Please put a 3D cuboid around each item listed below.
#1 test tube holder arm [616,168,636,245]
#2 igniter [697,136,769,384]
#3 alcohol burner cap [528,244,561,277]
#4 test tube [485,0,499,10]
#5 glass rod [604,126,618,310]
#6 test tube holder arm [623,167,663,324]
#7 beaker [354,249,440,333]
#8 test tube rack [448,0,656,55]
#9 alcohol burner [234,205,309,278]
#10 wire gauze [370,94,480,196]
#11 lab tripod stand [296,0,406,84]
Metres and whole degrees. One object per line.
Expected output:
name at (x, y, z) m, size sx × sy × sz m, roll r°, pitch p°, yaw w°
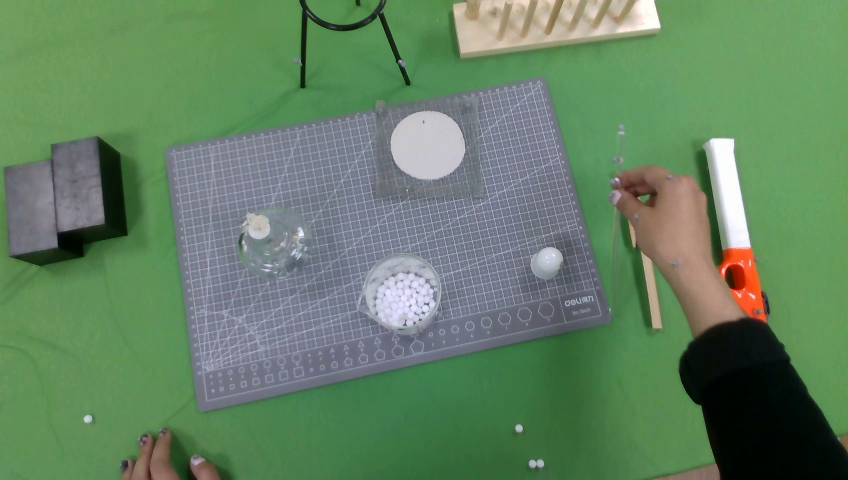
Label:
test tube holder arm at (0.230, -0.038, 0.682) m, size 0.010 × 0.015 × 0.087 m, roll -15°, pitch 77°, yaw 31°
igniter at (0.339, 0.017, 0.666) m, size 0.057 × 0.025 × 0.275 m, roll -2°, pitch 78°, yaw -11°
alcohol burner cap at (0.132, 0.020, 0.653) m, size 0.034 × 0.048 × 0.033 m, roll 0°, pitch 78°, yaw 0°
test tube at (0.084, -0.294, 0.648) m, size 0.017 × 0.150 × 0.017 m, roll 1°, pitch 77°, yaw -3°
glass rod at (0.191, -0.017, 0.623) m, size 0.008 × 0.008 × 0.201 m, roll -6°, pitch 113°, yaw -2°
test tube holder arm at (0.241, 0.005, 0.670) m, size 0.013 × 0.015 × 0.177 m, roll -16°, pitch 76°, yaw 31°
beaker at (-0.026, 0.057, 0.614) m, size 0.084 × 0.100 × 0.073 m, roll -19°, pitch 78°, yaw -4°
test tube rack at (0.154, -0.279, 0.697) m, size 0.242 × 0.085 × 0.066 m, roll -8°, pitch 78°, yaw -2°
alcohol burner at (-0.160, -0.003, 0.617) m, size 0.078 × 0.119 × 0.077 m, roll 0°, pitch 77°, yaw 2°
wire gauze at (0.001, -0.110, 0.696) m, size 0.125 × 0.011 × 0.121 m, roll -1°, pitch 79°, yaw -2°
lab tripod stand at (-0.087, -0.234, 0.659) m, size 0.148 × 0.132 × 0.148 m, roll 0°, pitch 80°, yaw -1°
